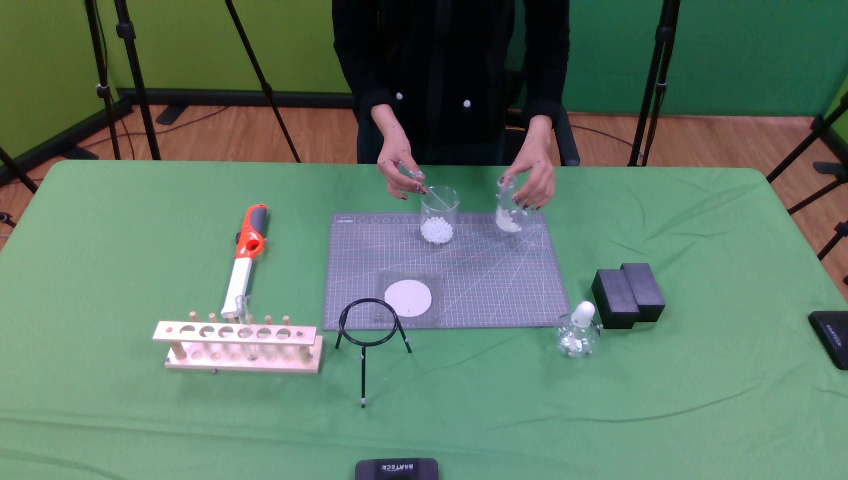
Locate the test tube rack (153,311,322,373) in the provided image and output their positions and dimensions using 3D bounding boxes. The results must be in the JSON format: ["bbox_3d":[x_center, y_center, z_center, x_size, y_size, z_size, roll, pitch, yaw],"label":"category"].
[{"bbox_3d":[-0.293,0.160,0.978,0.242,0.085,0.066,3,46,-2],"label":"test tube rack"}]

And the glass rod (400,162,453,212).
[{"bbox_3d":[0.009,-0.095,1.123,0.008,0.201,0.008,-13,61,26],"label":"glass rod"}]

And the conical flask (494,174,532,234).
[{"bbox_3d":[0.166,-0.073,1.159,0.075,0.122,0.075,-7,52,10],"label":"conical flask"}]

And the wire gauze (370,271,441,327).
[{"bbox_3d":[-0.032,0.103,1.104,0.125,0.011,0.121,4,46,3],"label":"wire gauze"}]

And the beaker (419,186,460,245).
[{"bbox_3d":[0.025,-0.047,1.190,0.074,0.101,0.083,-29,54,-29],"label":"beaker"}]

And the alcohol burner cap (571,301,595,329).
[{"bbox_3d":[0.262,0.120,0.991,0.034,0.048,0.033,2,52,-2],"label":"alcohol burner cap"}]

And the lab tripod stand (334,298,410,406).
[{"bbox_3d":[-0.085,0.164,0.957,0.148,0.132,0.147,3,44,-2],"label":"lab tripod stand"}]

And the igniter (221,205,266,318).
[{"bbox_3d":[-0.338,0.030,1.140,0.057,0.025,0.274,-5,46,3],"label":"igniter"}]

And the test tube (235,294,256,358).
[{"bbox_3d":[-0.274,0.136,0.933,0.017,0.151,0.017,4,46,-4],"label":"test tube"}]

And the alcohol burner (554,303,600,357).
[{"bbox_3d":[0.260,0.143,1.018,0.078,0.119,0.077,3,45,-3],"label":"alcohol burner"}]
